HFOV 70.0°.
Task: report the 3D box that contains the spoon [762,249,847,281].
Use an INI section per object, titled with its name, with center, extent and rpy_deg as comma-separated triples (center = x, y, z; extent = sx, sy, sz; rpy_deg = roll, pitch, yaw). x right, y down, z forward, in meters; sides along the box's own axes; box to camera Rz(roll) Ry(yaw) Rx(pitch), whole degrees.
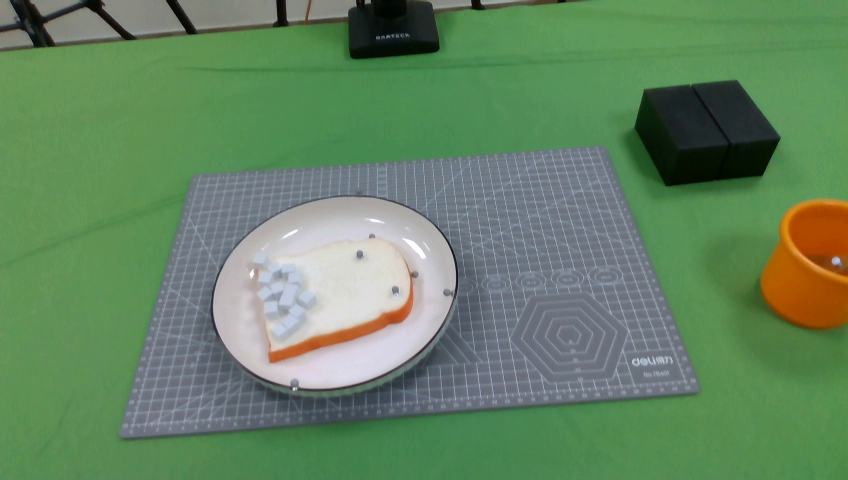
[spoon]
center = 0.359, 0.007, 0.461
extent = 0.041, 0.193, 0.022
rpy_deg = -44, 103, -33

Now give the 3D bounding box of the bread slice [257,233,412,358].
[bread slice]
center = -0.078, 0.039, 0.529
extent = 0.132, 0.019, 0.103
rpy_deg = -16, 51, -9

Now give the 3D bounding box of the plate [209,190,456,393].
[plate]
center = -0.076, 0.041, 0.523
extent = 0.209, 0.038, 0.207
rpy_deg = -1, 50, 2
